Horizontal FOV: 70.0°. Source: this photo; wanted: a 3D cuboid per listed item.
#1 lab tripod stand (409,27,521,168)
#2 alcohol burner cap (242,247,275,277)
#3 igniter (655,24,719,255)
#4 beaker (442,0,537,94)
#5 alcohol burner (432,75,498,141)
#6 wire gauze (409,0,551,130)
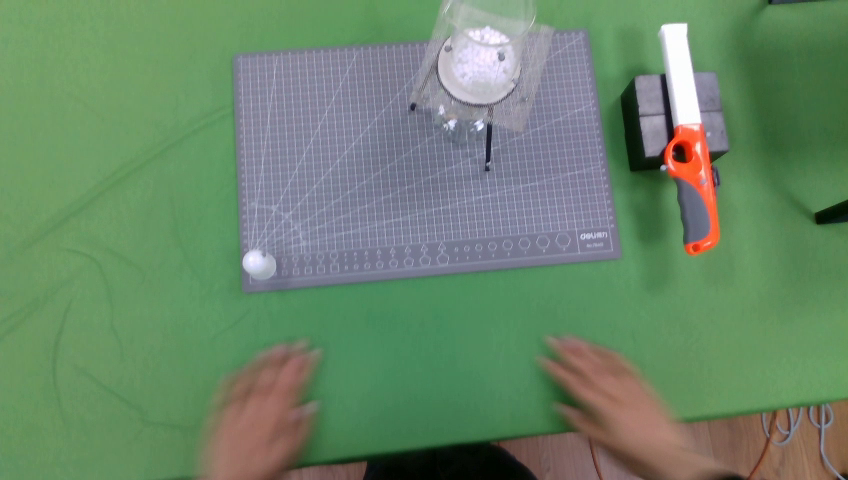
[{"bbox_3d":[0.056,-0.171,0.688,0.148,0.132,0.147,0,77,-1],"label":"lab tripod stand"},{"bbox_3d":[-0.191,0.023,0.689,0.034,0.048,0.033,1,78,-3],"label":"alcohol burner cap"},{"bbox_3d":[0.300,-0.119,0.696,0.057,0.025,0.275,-3,78,1],"label":"igniter"},{"bbox_3d":[0.057,-0.190,0.576,0.084,0.100,0.073,-5,77,-2],"label":"beaker"},{"bbox_3d":[0.048,-0.159,0.696,0.078,0.119,0.077,0,80,-1],"label":"alcohol burner"},{"bbox_3d":[0.060,-0.181,0.624,0.121,0.011,0.124,18,75,0],"label":"wire gauze"}]
